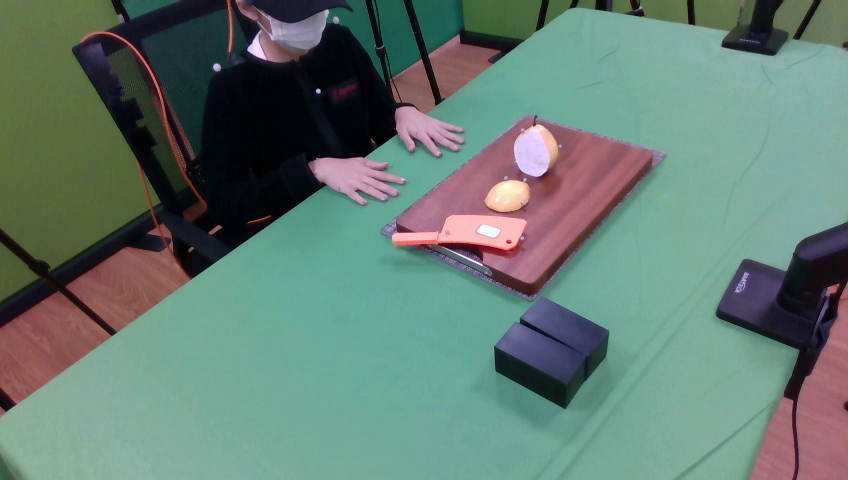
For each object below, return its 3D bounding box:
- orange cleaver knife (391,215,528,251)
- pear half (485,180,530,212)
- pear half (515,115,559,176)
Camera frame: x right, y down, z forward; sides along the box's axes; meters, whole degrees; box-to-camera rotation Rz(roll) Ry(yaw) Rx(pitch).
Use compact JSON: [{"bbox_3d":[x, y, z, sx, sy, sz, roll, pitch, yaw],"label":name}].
[{"bbox_3d":[0.055,-0.013,0.943,0.211,0.012,0.077,0,45,14],"label":"orange cleaver knife"},{"bbox_3d":[0.142,-0.081,1.001,0.088,0.031,0.070,-38,55,-27],"label":"pear half"},{"bbox_3d":[0.196,-0.169,1.033,0.076,0.110,0.056,22,49,26],"label":"pear half"}]
